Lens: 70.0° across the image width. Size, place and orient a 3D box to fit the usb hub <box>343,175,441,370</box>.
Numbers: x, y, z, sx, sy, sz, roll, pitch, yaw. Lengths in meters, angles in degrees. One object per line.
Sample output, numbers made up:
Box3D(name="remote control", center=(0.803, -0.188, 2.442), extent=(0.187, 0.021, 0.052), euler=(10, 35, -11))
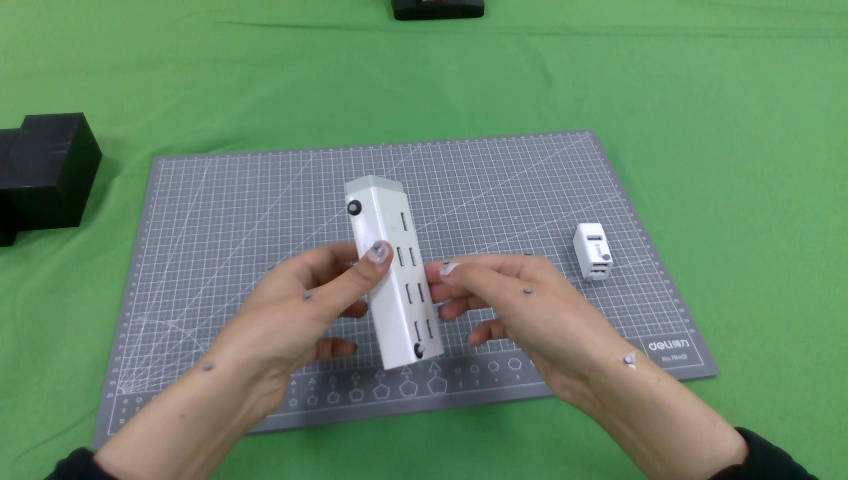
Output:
Box3D(name="usb hub", center=(-0.022, 0.021, 0.406), extent=(0.025, 0.050, 0.124), euler=(-17, 82, 24))

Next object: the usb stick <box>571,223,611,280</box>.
Box3D(name="usb stick", center=(0.142, 0.005, 0.523), extent=(0.021, 0.027, 0.058), euler=(-2, 46, -2))
